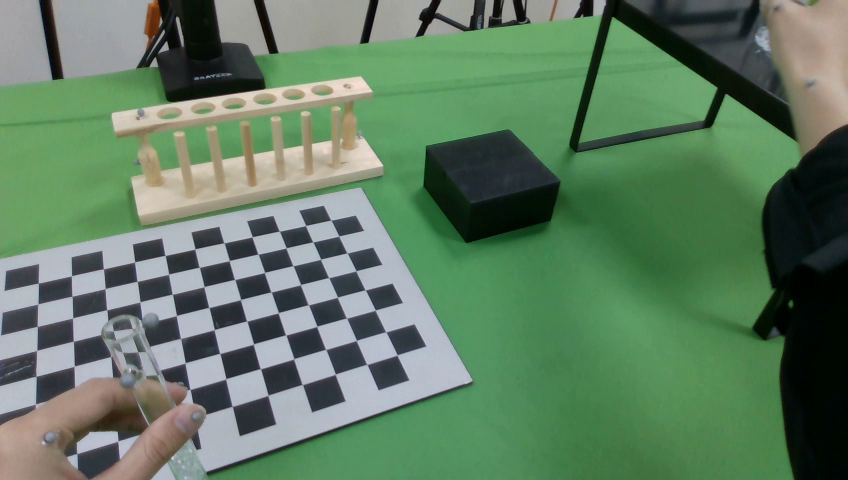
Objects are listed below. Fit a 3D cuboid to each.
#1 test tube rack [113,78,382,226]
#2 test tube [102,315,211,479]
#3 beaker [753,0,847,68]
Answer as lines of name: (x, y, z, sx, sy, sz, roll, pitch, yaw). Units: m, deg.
test tube rack: (-0.165, -0.092, 0.605, 0.243, 0.086, 0.066, -15, 45, -21)
test tube: (-0.127, 0.094, 0.302, 0.017, 0.151, 0.017, 0, 40, 0)
beaker: (0.323, -0.203, 0.499, 0.074, 0.101, 0.083, -29, 51, -33)
